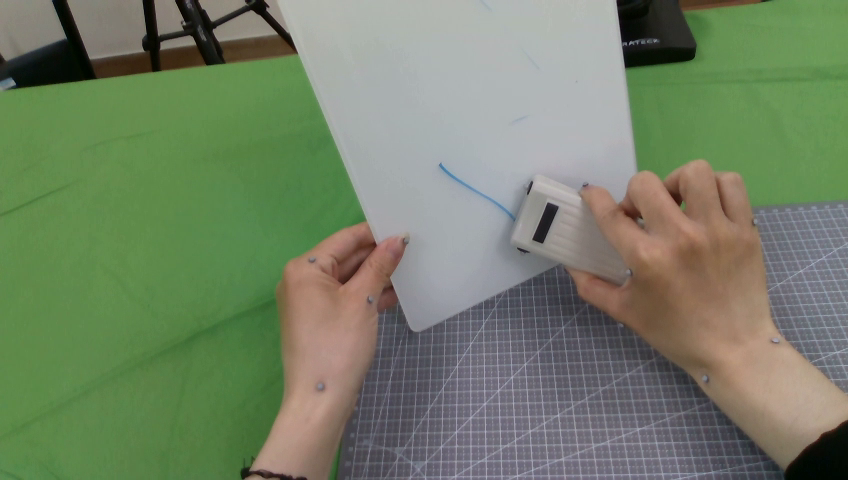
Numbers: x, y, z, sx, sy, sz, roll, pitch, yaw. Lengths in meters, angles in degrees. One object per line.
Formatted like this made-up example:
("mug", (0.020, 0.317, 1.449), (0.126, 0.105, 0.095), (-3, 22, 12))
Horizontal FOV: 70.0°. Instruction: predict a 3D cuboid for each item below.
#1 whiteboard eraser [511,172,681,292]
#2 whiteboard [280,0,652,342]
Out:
("whiteboard eraser", (0.124, -0.007, 0.446), (0.112, 0.056, 0.041), (21, 23, 4))
("whiteboard", (0.026, -0.119, 0.466), (0.217, 0.308, 0.142), (-24, 29, -8))
